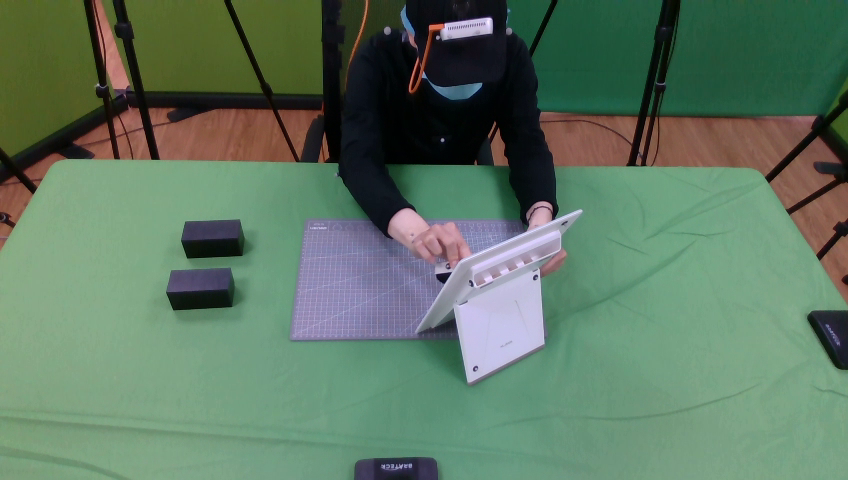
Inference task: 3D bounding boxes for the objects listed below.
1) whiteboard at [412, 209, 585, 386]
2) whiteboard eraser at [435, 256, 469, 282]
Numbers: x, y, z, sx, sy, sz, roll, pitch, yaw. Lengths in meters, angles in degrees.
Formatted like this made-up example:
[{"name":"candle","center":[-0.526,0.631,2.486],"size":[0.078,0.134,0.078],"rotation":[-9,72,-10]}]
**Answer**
[{"name":"whiteboard","center":[0.135,0.110,0.943],"size":[0.217,0.306,0.143],"rotation":[-21,72,-22]},{"name":"whiteboard eraser","center":[0.078,0.048,0.996],"size":[0.112,0.056,0.041],"rotation":[-11,72,28]}]
